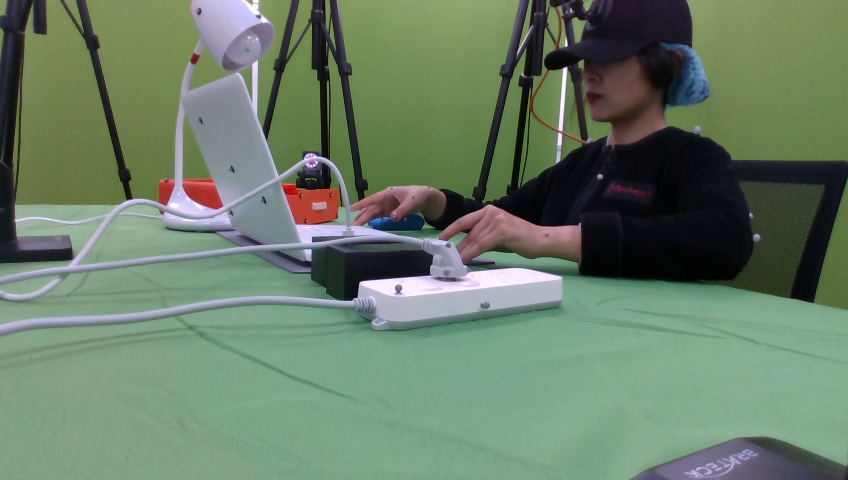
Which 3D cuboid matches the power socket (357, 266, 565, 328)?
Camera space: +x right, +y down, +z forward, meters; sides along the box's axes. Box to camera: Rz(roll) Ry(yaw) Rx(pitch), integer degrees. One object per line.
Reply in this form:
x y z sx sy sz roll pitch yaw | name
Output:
0.041 0.049 0.572 0.228 0.032 0.072 -3 8 -35 | power socket

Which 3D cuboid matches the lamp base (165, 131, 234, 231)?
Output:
-0.407 -0.112 1.119 0.179 0.180 0.161 -1 7 7 | lamp base

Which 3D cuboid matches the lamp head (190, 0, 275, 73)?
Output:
-0.330 -0.355 1.008 0.123 0.112 0.112 43 15 6 | lamp head

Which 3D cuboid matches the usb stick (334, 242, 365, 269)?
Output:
-0.095 0.017 0.744 0.021 0.027 0.059 -5 10 -34 | usb stick

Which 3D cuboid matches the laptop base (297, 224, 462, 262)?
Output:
-0.131 0.002 0.947 0.237 0.023 0.352 2 6 -32 | laptop base

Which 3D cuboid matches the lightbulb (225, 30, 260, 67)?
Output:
-0.318 -0.334 1.000 0.107 0.059 0.059 45 15 5 | lightbulb

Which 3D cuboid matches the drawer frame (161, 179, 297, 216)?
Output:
-0.421 -0.089 1.329 0.213 0.082 0.202 4 8 16 | drawer frame

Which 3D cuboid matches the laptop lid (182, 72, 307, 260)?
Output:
-0.264 -0.102 0.849 0.013 0.242 0.355 -26 21 -26 | laptop lid

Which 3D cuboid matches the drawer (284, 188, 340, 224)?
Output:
-0.314 -0.078 1.301 0.211 0.073 0.195 4 8 15 | drawer

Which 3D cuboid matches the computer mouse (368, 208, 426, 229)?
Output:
-0.057 -0.044 1.267 0.118 0.041 0.062 -6 11 -28 | computer mouse

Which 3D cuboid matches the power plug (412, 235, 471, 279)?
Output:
0.017 0.023 0.588 0.035 0.052 0.072 -1 8 -24 | power plug
